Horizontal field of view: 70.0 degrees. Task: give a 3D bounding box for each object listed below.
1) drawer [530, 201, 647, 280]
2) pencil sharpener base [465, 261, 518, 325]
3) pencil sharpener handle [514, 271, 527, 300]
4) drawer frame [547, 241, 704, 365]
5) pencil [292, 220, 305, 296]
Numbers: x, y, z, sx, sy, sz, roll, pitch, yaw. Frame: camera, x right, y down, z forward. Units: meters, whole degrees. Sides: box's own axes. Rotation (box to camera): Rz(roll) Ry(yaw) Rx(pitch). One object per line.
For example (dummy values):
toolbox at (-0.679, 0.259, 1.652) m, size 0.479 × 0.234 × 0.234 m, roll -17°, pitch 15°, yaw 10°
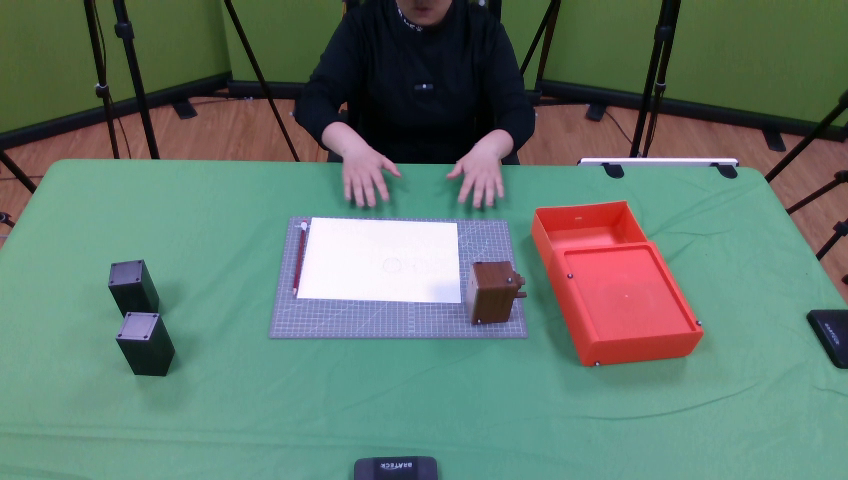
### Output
drawer at (0.328, 0.024, 1.159) m, size 0.195 × 0.073 × 0.210 m, roll -4°, pitch 46°, yaw -9°
pencil sharpener base at (0.117, 0.092, 1.052) m, size 0.077 × 0.107 × 0.061 m, roll -3°, pitch 46°, yaw -7°
pencil sharpener handle at (0.168, 0.081, 1.051) m, size 0.031 × 0.068 × 0.035 m, roll -3°, pitch 49°, yaw -7°
drawer frame at (0.348, 0.106, 1.077) m, size 0.202 × 0.083 × 0.212 m, roll -4°, pitch 47°, yaw -9°
pencil at (-0.239, 0.032, 1.151) m, size 0.012 × 0.012 × 0.193 m, roll 0°, pitch 46°, yaw -4°
